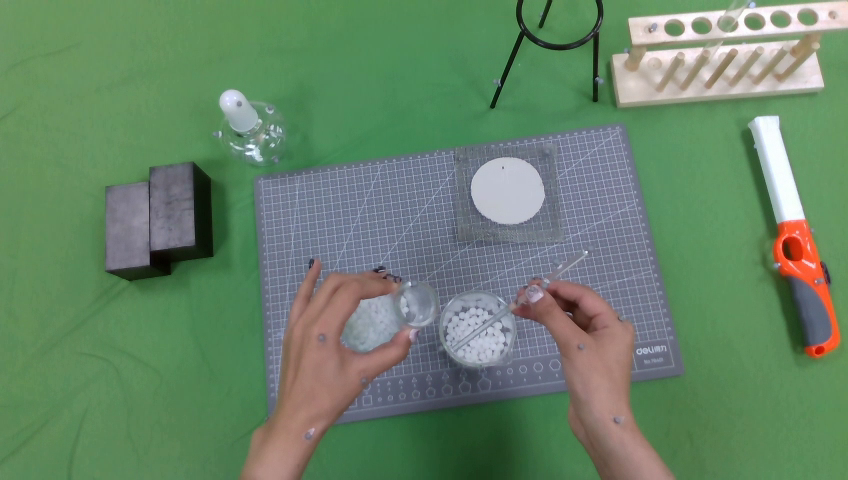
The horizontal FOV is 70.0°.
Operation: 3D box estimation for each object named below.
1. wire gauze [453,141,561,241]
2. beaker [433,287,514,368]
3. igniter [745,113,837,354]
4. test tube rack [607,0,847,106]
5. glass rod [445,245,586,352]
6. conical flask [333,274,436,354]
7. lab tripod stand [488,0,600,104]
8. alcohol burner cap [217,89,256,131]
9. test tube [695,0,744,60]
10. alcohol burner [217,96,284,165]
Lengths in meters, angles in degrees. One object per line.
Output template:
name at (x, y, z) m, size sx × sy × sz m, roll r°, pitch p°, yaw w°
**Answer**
wire gauze at (0.096, -0.058, 0.708) m, size 0.125 × 0.011 × 0.121 m, roll 0°, pitch 75°, yaw 0°
beaker at (0.053, 0.096, 0.623) m, size 0.074 × 0.101 × 0.083 m, roll -44°, pitch 78°, yaw -8°
igniter at (0.407, -0.013, 0.675) m, size 0.057 × 0.025 × 0.275 m, roll -4°, pitch 75°, yaw -8°
test tube rack at (0.346, -0.215, 0.701) m, size 0.242 × 0.085 × 0.066 m, roll -5°, pitch 74°, yaw 2°
glass rod at (0.074, 0.058, 0.540) m, size 0.008 × 0.200 × 0.008 m, roll 20°, pitch 48°, yaw -24°
conical flask at (-0.030, 0.060, 0.527) m, size 0.076 × 0.121 × 0.075 m, roll 5°, pitch 78°, yaw -22°
lab tripod stand at (0.138, -0.220, 0.687) m, size 0.148 × 0.132 × 0.147 m, roll -1°, pitch 77°, yaw 3°
alcohol burner cap at (-0.205, -0.144, 0.654) m, size 0.034 × 0.048 × 0.033 m, roll -1°, pitch 69°, yaw 3°
test tube at (0.326, -0.241, 0.657) m, size 0.017 × 0.151 × 0.017 m, roll -1°, pitch 75°, yaw 5°
alcohol burner at (-0.203, -0.132, 0.688) m, size 0.078 × 0.120 × 0.077 m, roll -1°, pitch 76°, yaw 4°
